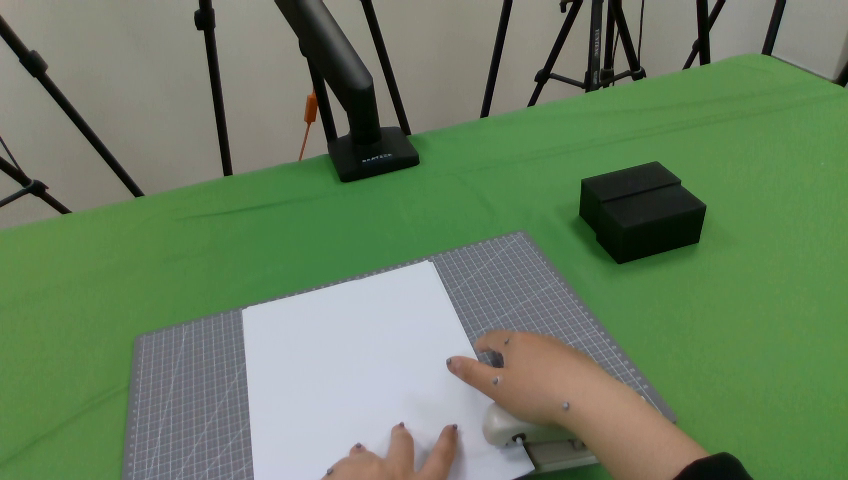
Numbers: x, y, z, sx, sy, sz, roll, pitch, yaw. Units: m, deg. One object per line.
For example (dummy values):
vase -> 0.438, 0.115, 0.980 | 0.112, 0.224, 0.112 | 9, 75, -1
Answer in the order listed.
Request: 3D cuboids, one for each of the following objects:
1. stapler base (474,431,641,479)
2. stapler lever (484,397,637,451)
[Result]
stapler base -> 0.106, 0.159, 0.484 | 0.131, 0.024, 0.041 | -8, 40, -5
stapler lever -> 0.105, 0.139, 0.469 | 0.118, 0.040, 0.026 | -9, 40, -4
